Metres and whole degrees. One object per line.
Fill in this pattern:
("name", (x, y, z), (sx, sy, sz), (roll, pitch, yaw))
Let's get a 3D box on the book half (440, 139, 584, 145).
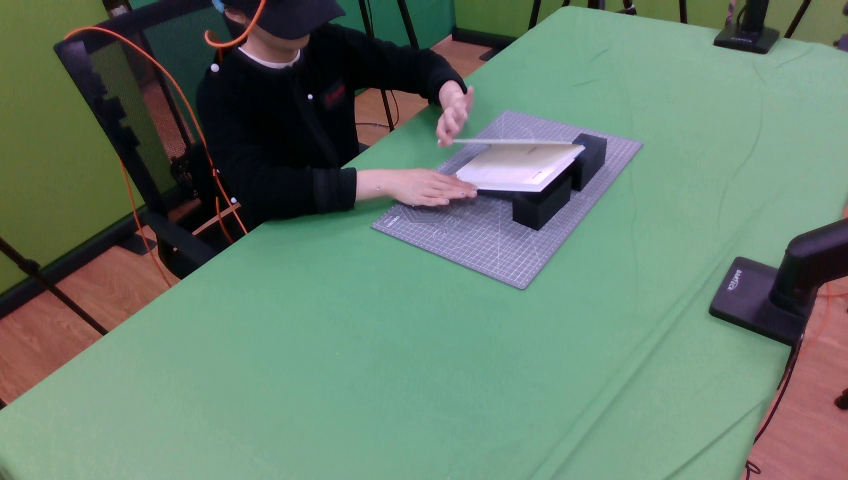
("book half", (0.149, -0.168, 1.044), (0.144, 0.007, 0.208), (-5, 10, -44))
